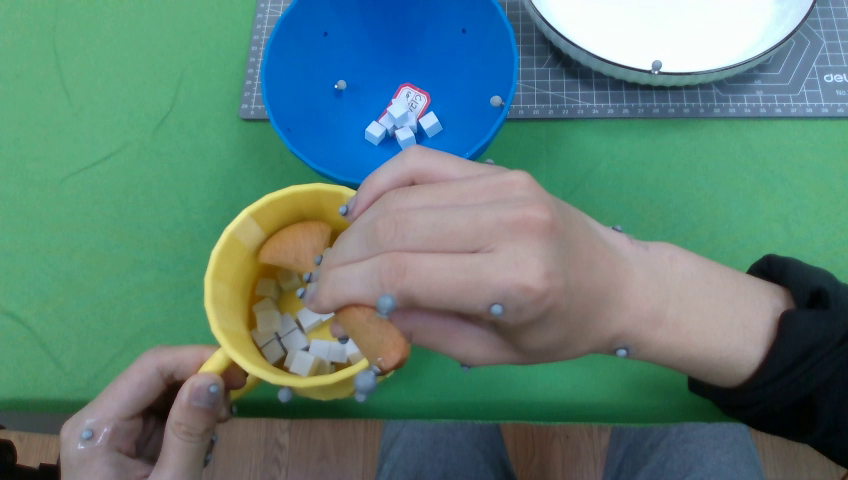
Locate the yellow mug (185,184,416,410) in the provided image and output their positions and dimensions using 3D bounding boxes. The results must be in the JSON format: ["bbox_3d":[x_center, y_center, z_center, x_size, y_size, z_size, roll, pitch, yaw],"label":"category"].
[{"bbox_3d":[-0.066,0.040,0.310,0.131,0.064,0.099,-42,76,-12],"label":"yellow mug"}]

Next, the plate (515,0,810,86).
[{"bbox_3d":[0.161,-0.193,0.430,0.209,0.038,0.207,-1,70,3],"label":"plate"}]

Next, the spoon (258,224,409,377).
[{"bbox_3d":[-0.040,0.018,0.250,0.041,0.192,0.022,-27,112,-15],"label":"spoon"}]

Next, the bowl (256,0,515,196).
[{"bbox_3d":[-0.020,-0.089,0.384,0.151,0.077,0.150,-1,74,4],"label":"bowl"}]
